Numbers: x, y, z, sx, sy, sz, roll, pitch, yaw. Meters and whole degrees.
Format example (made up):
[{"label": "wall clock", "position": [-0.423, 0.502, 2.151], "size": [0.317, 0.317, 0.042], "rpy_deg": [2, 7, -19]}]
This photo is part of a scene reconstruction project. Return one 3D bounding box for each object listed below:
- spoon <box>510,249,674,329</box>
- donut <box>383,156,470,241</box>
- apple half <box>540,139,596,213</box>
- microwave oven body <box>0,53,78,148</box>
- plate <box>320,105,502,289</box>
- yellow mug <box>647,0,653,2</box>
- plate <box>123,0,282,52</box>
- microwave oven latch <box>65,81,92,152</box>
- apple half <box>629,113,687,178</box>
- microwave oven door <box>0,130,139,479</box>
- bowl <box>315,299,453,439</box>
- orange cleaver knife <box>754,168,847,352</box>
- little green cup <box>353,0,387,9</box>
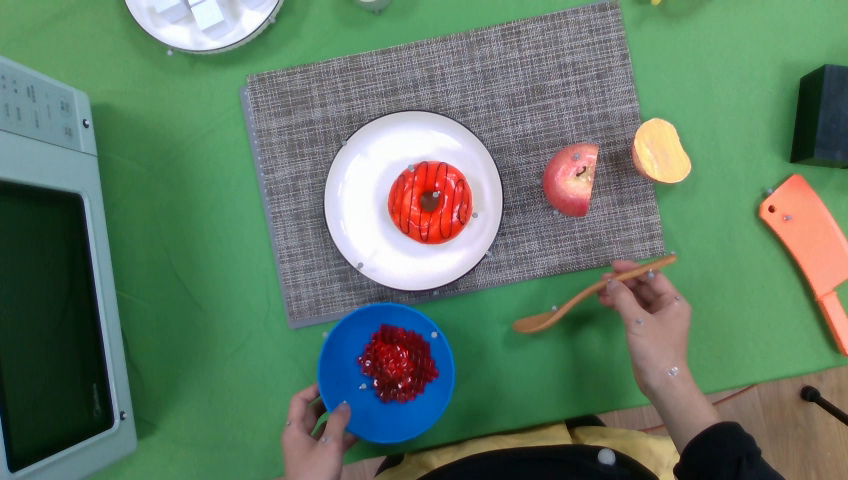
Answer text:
[{"label": "spoon", "position": [0.176, 0.054, 0.655], "size": [0.194, 0.041, 0.021], "rpy_deg": [-34, 91, 27]}, {"label": "donut", "position": [0.003, -0.047, 0.688], "size": [0.099, 0.048, 0.099], "rpy_deg": [0, 92, 4]}, {"label": "apple half", "position": [0.156, -0.072, 0.672], "size": [0.053, 0.075, 0.081], "rpy_deg": [8, 93, 8]}, {"label": "microwave oven body", "position": [-0.542, 0.052, 0.624], "size": [0.326, 0.260, 0.441], "rpy_deg": [-9, 89, 3]}, {"label": "plate", "position": [-0.014, -0.049, 0.700], "size": [0.209, 0.038, 0.209], "rpy_deg": [0, 90, 4]}, {"label": "yellow mug", "position": [0.290, -0.321, 0.671], "size": [0.100, 0.064, 0.131], "rpy_deg": [36, 93, 4]}, {"label": "plate", "position": [-0.258, -0.324, 0.723], "size": [0.207, 0.039, 0.207], "rpy_deg": [0, 89, 4]}, {"label": "microwave oven latch", "position": [-0.416, -0.144, 0.714], "size": [0.030, 0.029, 0.079], "rpy_deg": [-8, 90, 3]}, {"label": "apple half", "position": [0.254, -0.100, 0.682], "size": [0.082, 0.033, 0.081], "rpy_deg": [9, 70, -24]}, {"label": "microwave oven door", "position": [-0.392, 0.071, 0.609], "size": [0.039, 0.244, 0.355], "rpy_deg": [-9, 88, 4]}, {"label": "bowl", "position": [-0.040, 0.139, 0.684], "size": [0.151, 0.077, 0.151], "rpy_deg": [0, 89, 4]}, {"label": "orange cleaver knife", "position": [0.447, 0.021, 0.681], "size": [0.077, 0.012, 0.211], "rpy_deg": [-27, 87, -1]}, {"label": "little green cup", "position": [-0.066, -0.304, 0.710], "size": [0.061, 0.038, 0.061], "rpy_deg": [0, 89, 4]}]
